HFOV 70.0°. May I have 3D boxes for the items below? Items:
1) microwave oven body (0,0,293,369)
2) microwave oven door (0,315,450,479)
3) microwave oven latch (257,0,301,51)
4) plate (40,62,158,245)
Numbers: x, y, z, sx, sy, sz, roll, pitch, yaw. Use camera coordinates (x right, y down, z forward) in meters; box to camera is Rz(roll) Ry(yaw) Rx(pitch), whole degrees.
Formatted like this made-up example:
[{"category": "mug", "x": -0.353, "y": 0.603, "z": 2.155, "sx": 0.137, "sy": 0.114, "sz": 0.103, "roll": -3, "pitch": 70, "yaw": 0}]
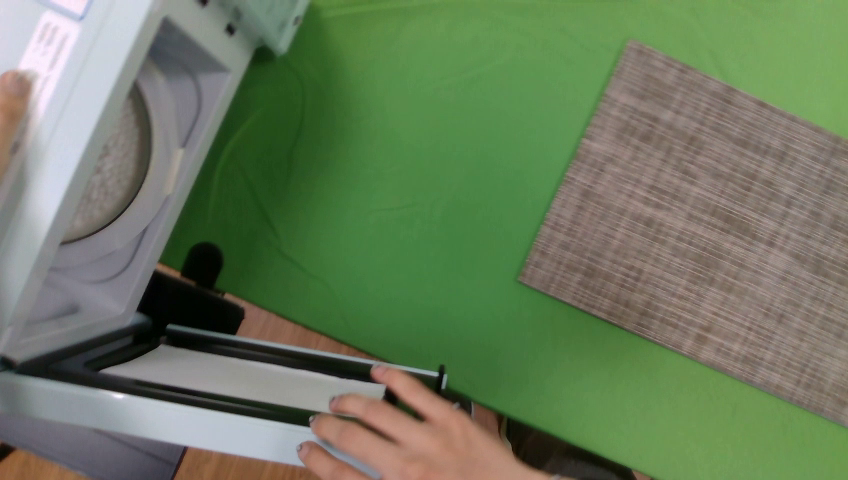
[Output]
[{"category": "microwave oven body", "x": -0.363, "y": -0.146, "z": 0.554, "sx": 0.326, "sy": 0.260, "sz": 0.441, "roll": 25, "pitch": 92, "yaw": -2}, {"category": "microwave oven door", "x": -0.154, "y": 0.137, "z": 0.565, "sx": 0.356, "sy": 0.243, "sz": 0.039, "roll": 10, "pitch": 91, "yaw": -2}, {"category": "microwave oven latch", "x": -0.156, "y": -0.247, "z": 0.651, "sx": 0.030, "sy": 0.029, "sz": 0.079, "roll": 28, "pitch": 92, "yaw": -2}, {"category": "plate", "x": -0.369, "y": -0.100, "z": 0.610, "sx": 0.209, "sy": 0.038, "sz": 0.209, "roll": 0, "pitch": 93, "yaw": -1}]
